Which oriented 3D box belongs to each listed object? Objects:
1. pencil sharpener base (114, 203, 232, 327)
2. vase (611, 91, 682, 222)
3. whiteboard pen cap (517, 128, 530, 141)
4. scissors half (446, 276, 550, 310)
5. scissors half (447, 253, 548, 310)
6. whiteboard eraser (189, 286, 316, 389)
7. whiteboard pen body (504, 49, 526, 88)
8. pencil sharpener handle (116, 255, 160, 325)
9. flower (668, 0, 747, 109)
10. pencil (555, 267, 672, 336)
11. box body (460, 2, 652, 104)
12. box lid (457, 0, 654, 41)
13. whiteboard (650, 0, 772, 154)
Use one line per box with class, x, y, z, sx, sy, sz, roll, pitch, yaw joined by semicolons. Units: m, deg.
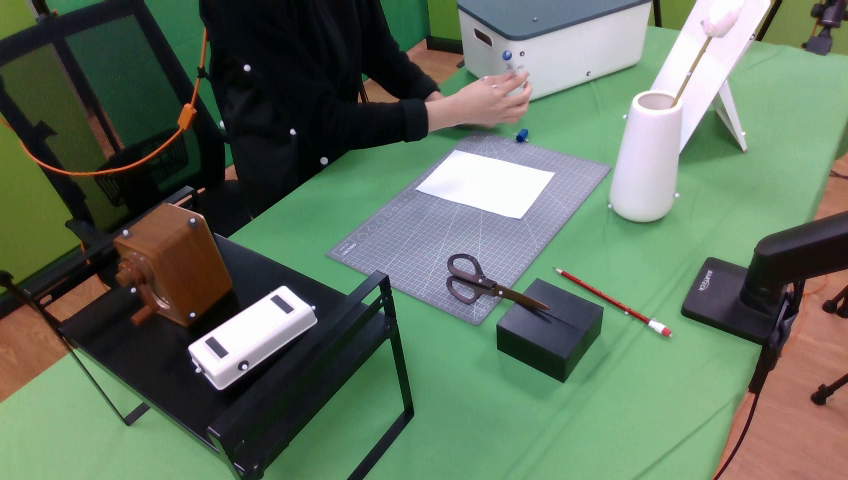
pencil sharpener base;-0.261;0.029;0.635;0.061;0.107;0.077;18;47;27
vase;0.348;-0.125;0.935;0.098;0.201;0.097;-3;40;3
whiteboard pen cap;0.195;-0.207;1.192;0.018;0.018;0.033;14;40;23
scissors half;0.098;0.077;0.827;0.174;0.040;0.013;6;13;44
scissors half;0.098;0.058;0.821;0.173;0.040;0.013;27;33;36
whiteboard eraser;-0.166;0.096;0.593;0.113;0.042;0.055;-36;47;-29
whiteboard pen body;0.151;-0.275;0.985;0.017;0.141;0.017;-3;81;19
pencil sharpener handle;-0.286;0.050;0.594;0.035;0.068;0.031;7;41;35
flower;0.354;-0.187;0.879;0.038;0.362;0.044;31;48;15
pencil;0.260;0.082;0.850;0.012;0.012;0.192;-33;46;-27
box body;0.291;-0.465;1.371;0.365;0.161;0.252;-22;42;-16
box lid;0.285;-0.522;1.323;0.373;0.015;0.261;-22;43;-16
whiteboard;0.543;-0.298;1.076;0.144;0.305;0.216;12;40;-7
